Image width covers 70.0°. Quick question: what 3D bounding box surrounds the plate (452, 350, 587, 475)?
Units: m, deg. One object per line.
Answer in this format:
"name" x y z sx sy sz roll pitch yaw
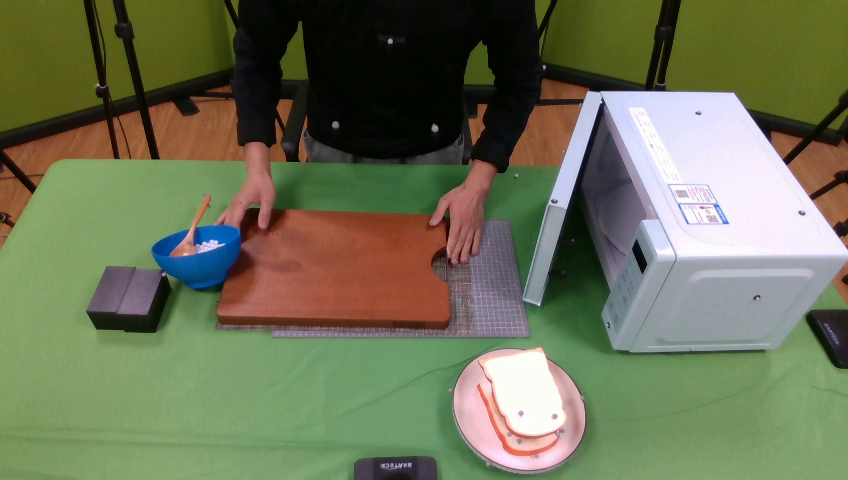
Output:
"plate" 0.146 0.267 0.943 0.208 0.039 0.206 3 46 -2

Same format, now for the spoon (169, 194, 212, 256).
"spoon" -0.427 -0.024 1.130 0.041 0.022 0.192 5 47 1

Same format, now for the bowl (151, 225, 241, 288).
"bowl" -0.397 0.034 1.081 0.151 0.077 0.151 -5 21 2

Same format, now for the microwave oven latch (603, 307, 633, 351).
"microwave oven latch" 0.332 0.153 1.044 0.030 0.029 0.078 0 45 -3

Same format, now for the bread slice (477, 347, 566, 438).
"bread slice" 0.151 0.227 0.902 0.107 0.018 0.133 -11 53 -17

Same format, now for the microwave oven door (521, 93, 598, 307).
"microwave oven door" 0.258 -0.084 1.127 0.039 0.245 0.354 17 47 12

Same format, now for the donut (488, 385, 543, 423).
"donut" 0.147 0.242 0.927 0.099 0.048 0.098 -1 42 1

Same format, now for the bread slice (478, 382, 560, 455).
"bread slice" 0.154 0.269 0.944 0.105 0.019 0.130 -10 47 -12

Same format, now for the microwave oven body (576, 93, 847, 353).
"microwave oven body" 0.475 -0.041 1.109 0.326 0.261 0.438 -1 45 -4
